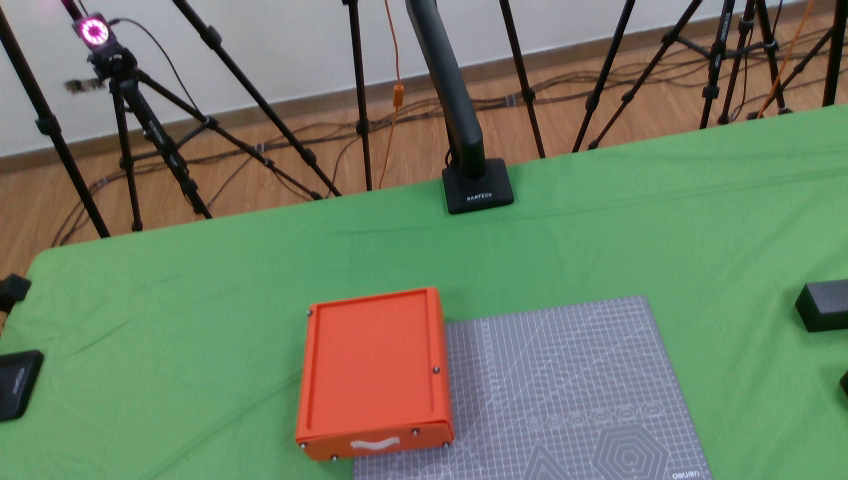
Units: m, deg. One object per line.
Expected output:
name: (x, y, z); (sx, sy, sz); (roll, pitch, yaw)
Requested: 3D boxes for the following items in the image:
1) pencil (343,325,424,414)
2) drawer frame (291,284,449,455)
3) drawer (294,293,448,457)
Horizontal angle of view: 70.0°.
pencil: (-0.062, 0.186, 0.886); (0.012, 0.012, 0.192); (-37, 56, -18)
drawer frame: (-0.074, 0.182, 0.858); (0.201, 0.083, 0.211); (-10, 49, 5)
drawer: (-0.072, 0.186, 0.856); (0.194, 0.074, 0.209); (-9, 49, 5)
